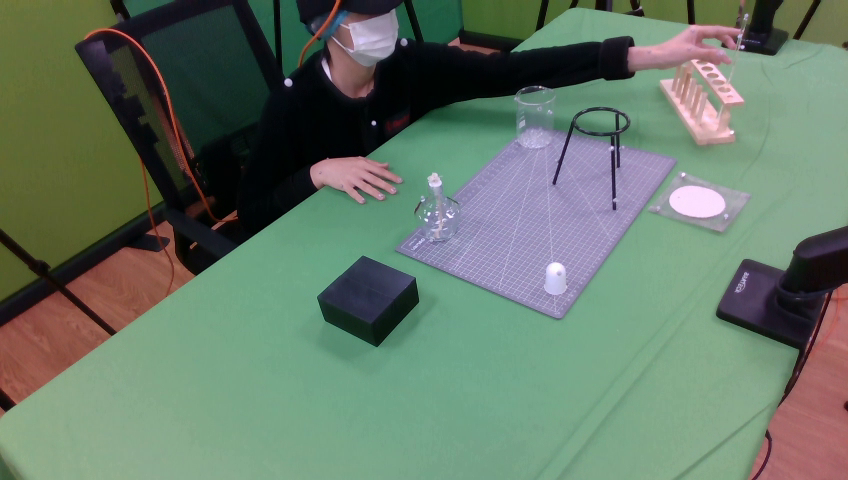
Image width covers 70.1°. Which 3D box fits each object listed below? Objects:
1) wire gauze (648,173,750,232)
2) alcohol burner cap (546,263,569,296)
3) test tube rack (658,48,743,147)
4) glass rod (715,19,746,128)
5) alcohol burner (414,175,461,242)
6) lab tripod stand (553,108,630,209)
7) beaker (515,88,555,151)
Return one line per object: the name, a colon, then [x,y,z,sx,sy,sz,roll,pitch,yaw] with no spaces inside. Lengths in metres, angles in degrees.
wire gauze: [0.451,-0.062,0.990,0.120,0.011,0.125,26,49,32]
alcohol burner cap: [0.191,0.053,0.862,0.034,0.048,0.033,-5,40,4]
test tube rack: [0.532,-0.284,1.181,0.067,0.085,0.241,-5,40,4]
glass rod: [0.549,-0.293,1.085,0.008,0.200,0.008,-1,33,1]
alcohol burner: [0.021,-0.055,0.963,0.078,0.119,0.077,-3,41,4]
lab tripod stand: [0.292,-0.144,1.010,0.148,0.132,0.147,-5,38,4]
beaker: [0.213,-0.230,1.152,0.073,0.101,0.084,20,47,29]
